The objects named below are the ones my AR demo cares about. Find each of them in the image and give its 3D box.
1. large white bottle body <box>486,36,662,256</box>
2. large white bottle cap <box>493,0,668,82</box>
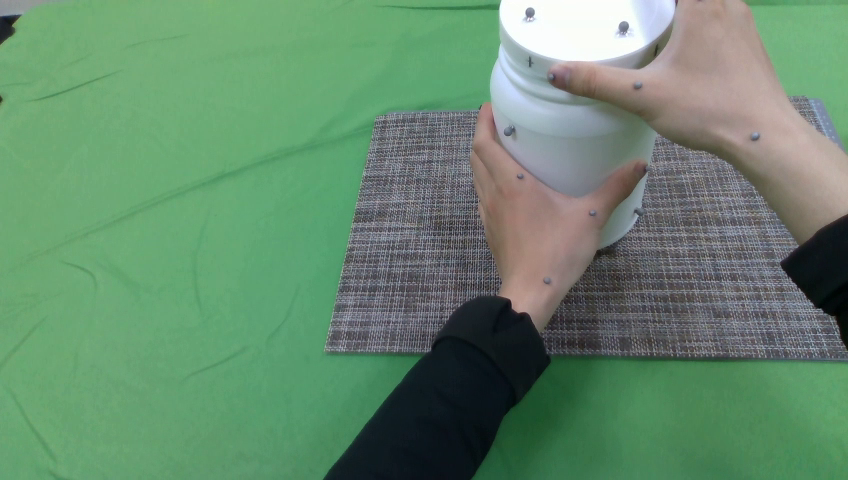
[{"bbox_3d":[0.117,-0.090,0.492,0.130,0.186,0.129,-4,50,6],"label":"large white bottle body"},{"bbox_3d":[0.104,-0.150,0.409,0.115,0.018,0.113,-4,55,6],"label":"large white bottle cap"}]
